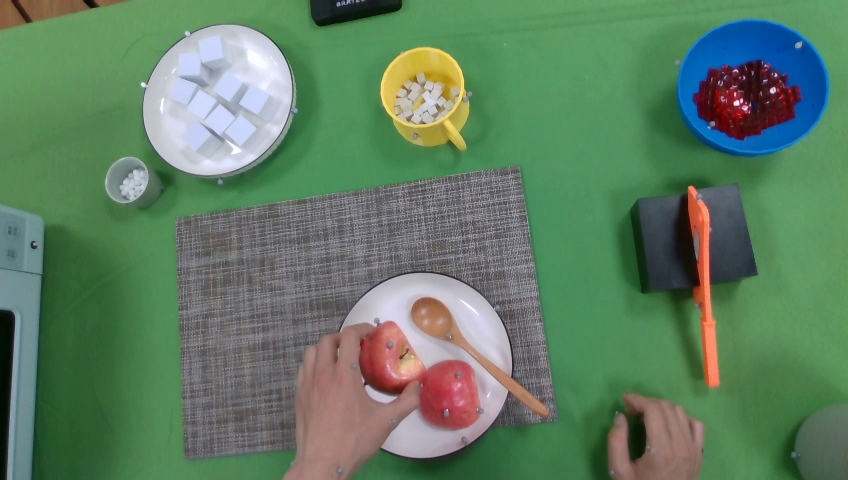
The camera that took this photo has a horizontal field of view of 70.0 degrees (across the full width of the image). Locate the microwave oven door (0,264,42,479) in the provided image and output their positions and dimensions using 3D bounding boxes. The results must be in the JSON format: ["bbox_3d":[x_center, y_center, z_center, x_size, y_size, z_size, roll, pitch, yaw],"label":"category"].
[{"bbox_3d":[-0.523,0.194,0.650,0.039,0.245,0.354,-5,80,9],"label":"microwave oven door"}]

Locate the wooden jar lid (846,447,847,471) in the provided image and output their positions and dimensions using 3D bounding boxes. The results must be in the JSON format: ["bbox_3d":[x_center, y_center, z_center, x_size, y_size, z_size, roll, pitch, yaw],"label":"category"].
[{"bbox_3d":[0.414,0.191,0.512,0.108,0.021,0.108,-1,83,9],"label":"wooden jar lid"}]

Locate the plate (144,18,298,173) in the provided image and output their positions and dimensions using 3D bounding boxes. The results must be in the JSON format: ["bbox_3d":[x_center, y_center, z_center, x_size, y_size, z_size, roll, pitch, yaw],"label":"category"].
[{"bbox_3d":[-0.261,-0.185,0.792,0.207,0.039,0.207,-2,81,9],"label":"plate"}]

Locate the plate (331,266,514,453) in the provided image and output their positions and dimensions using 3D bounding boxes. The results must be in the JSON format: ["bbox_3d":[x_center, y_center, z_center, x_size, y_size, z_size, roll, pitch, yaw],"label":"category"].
[{"bbox_3d":[-0.002,0.135,0.695,0.209,0.038,0.208,-1,81,9],"label":"plate"}]

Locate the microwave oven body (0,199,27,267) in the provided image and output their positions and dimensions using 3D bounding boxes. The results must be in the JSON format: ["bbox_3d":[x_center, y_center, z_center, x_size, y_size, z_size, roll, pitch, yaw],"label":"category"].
[{"bbox_3d":[-0.669,0.166,0.683,0.325,0.261,0.440,-5,81,8],"label":"microwave oven body"}]

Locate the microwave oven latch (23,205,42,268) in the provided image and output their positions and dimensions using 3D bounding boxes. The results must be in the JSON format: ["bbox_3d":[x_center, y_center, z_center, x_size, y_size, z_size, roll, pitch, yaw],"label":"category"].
[{"bbox_3d":[-0.517,-0.004,0.785,0.030,0.029,0.079,-4,81,8],"label":"microwave oven latch"}]

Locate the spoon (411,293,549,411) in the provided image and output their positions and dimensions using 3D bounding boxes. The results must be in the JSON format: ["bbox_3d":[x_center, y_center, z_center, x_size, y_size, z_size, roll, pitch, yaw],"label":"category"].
[{"bbox_3d":[0.060,0.124,0.673,0.192,0.022,0.041,38,76,26],"label":"spoon"}]

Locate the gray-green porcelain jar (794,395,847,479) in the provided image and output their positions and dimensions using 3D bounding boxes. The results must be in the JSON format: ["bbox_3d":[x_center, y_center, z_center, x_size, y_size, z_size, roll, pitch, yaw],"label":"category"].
[{"bbox_3d":[0.425,0.203,0.573,0.105,0.127,0.105,-2,80,10],"label":"gray-green porcelain jar"}]

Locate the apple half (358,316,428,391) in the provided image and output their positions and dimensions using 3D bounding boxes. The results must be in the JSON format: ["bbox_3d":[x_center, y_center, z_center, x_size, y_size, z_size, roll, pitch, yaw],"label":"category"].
[{"bbox_3d":[-0.041,0.128,0.644,0.053,0.074,0.081,-34,95,-26],"label":"apple half"}]

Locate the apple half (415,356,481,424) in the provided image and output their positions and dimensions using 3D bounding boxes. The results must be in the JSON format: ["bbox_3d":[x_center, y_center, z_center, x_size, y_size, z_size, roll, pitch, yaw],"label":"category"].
[{"bbox_3d":[0.025,0.169,0.678,0.081,0.033,0.081,-2,78,9],"label":"apple half"}]

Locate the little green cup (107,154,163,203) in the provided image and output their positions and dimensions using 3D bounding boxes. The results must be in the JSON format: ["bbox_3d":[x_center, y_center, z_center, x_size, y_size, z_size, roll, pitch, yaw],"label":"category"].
[{"bbox_3d":[-0.376,-0.078,0.792,0.061,0.039,0.061,-1,82,8],"label":"little green cup"}]

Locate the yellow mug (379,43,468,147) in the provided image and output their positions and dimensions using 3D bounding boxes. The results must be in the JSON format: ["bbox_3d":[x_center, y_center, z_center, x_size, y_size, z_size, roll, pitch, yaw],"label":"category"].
[{"bbox_3d":[0.010,-0.165,0.730,0.100,0.064,0.130,-36,78,2],"label":"yellow mug"}]

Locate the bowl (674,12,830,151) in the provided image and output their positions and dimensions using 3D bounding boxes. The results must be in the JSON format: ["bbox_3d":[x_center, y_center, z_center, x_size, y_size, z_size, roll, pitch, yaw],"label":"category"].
[{"bbox_3d":[0.348,-0.162,0.668,0.151,0.077,0.151,-1,81,9],"label":"bowl"}]

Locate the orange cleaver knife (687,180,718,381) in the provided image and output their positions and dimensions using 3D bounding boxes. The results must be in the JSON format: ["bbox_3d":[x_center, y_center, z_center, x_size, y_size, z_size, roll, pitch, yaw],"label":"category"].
[{"bbox_3d":[0.293,0.044,0.642,0.012,0.077,0.212,-7,103,12],"label":"orange cleaver knife"}]
